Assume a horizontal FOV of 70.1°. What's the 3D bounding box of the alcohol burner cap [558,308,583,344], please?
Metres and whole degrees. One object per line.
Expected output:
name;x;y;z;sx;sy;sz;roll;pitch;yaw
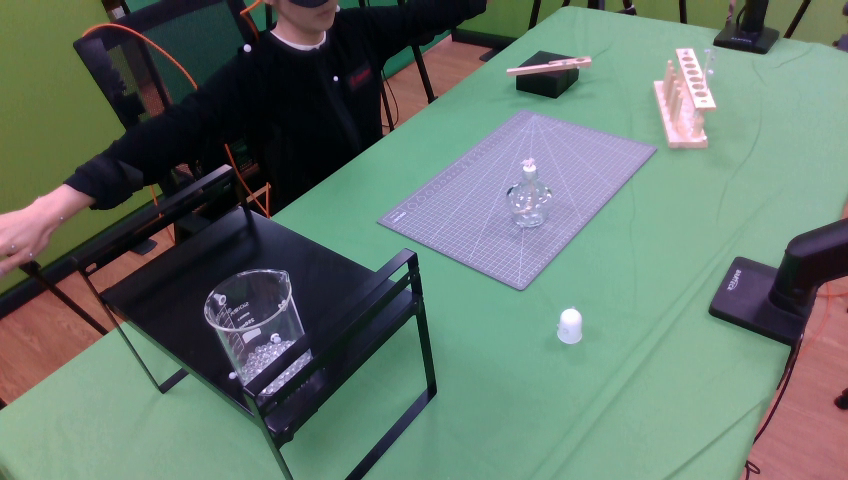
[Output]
alcohol burner cap;0.195;0.111;0.802;0.034;0.048;0.033;-4;39;4

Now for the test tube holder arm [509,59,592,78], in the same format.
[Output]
test tube holder arm;0.269;-0.367;1.291;0.178;0.015;0.013;-9;48;0

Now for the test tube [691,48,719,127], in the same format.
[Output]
test tube;0.505;-0.271;1.089;0.017;0.151;0.017;-2;38;2

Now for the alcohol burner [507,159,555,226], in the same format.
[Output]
alcohol burner;0.172;-0.081;0.969;0.078;0.119;0.077;-4;42;4

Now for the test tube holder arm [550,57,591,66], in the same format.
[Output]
test tube holder arm;0.313;-0.378;1.294;0.088;0.015;0.010;-8;48;1

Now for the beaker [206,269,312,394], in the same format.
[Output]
beaker;-0.146;0.086;0.560;0.073;0.101;0.084;19;46;27

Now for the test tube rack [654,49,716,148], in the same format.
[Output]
test tube rack;0.502;-0.281;1.176;0.066;0.085;0.241;2;41;11
